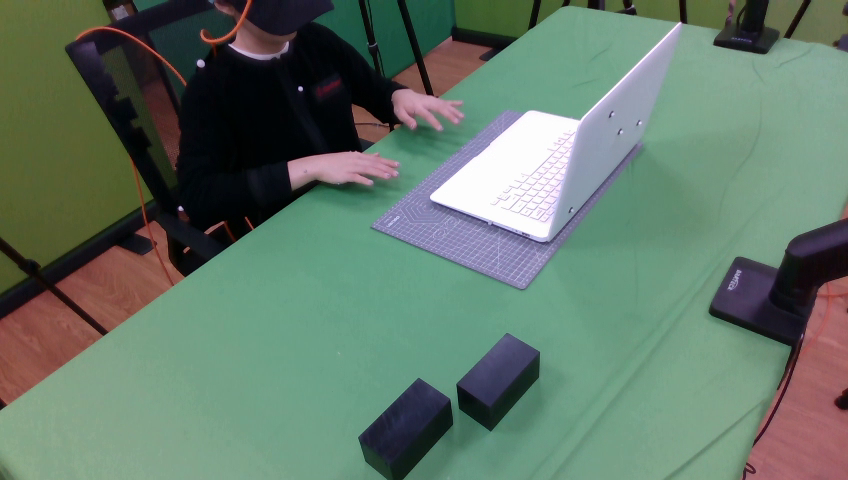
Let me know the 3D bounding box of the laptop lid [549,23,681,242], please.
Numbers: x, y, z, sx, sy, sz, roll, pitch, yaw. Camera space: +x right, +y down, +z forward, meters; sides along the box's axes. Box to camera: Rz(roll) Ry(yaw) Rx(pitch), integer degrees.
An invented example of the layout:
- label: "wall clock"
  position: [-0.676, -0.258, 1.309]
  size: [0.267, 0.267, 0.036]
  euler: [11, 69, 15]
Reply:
- label: "laptop lid"
  position: [0.304, -0.172, 0.951]
  size: [0.013, 0.242, 0.358]
  euler: [30, 51, 24]

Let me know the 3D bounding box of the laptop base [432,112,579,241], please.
- label: "laptop base"
  position: [0.208, -0.129, 1.098]
  size: [0.233, 0.023, 0.355]
  euler: [20, 47, 34]
